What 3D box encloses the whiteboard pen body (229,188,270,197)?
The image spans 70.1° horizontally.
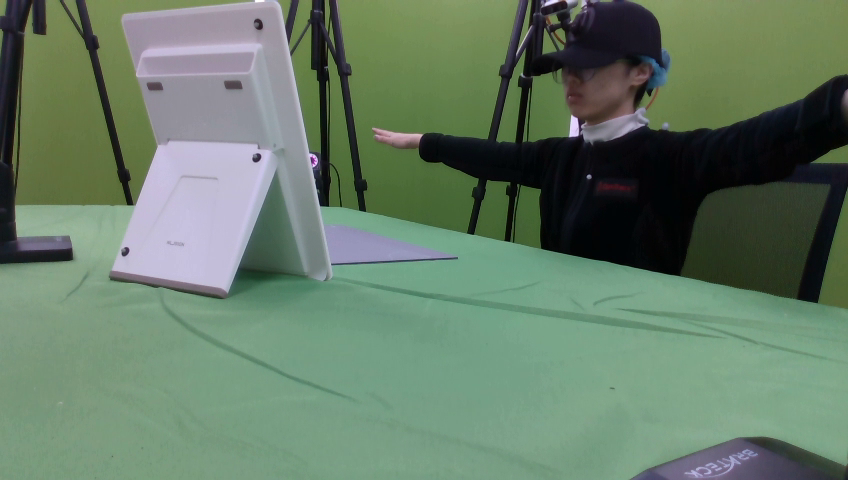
[{"bbox_3d":[-0.378,-0.103,1.313,0.017,0.017,0.141,4,8,18],"label":"whiteboard pen body"}]

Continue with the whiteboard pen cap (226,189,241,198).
[{"bbox_3d":[-0.396,-0.096,1.258,0.018,0.018,0.033,4,5,17],"label":"whiteboard pen cap"}]

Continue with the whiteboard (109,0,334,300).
[{"bbox_3d":[-0.247,-0.072,0.624,0.216,0.305,0.144,6,28,26],"label":"whiteboard"}]
